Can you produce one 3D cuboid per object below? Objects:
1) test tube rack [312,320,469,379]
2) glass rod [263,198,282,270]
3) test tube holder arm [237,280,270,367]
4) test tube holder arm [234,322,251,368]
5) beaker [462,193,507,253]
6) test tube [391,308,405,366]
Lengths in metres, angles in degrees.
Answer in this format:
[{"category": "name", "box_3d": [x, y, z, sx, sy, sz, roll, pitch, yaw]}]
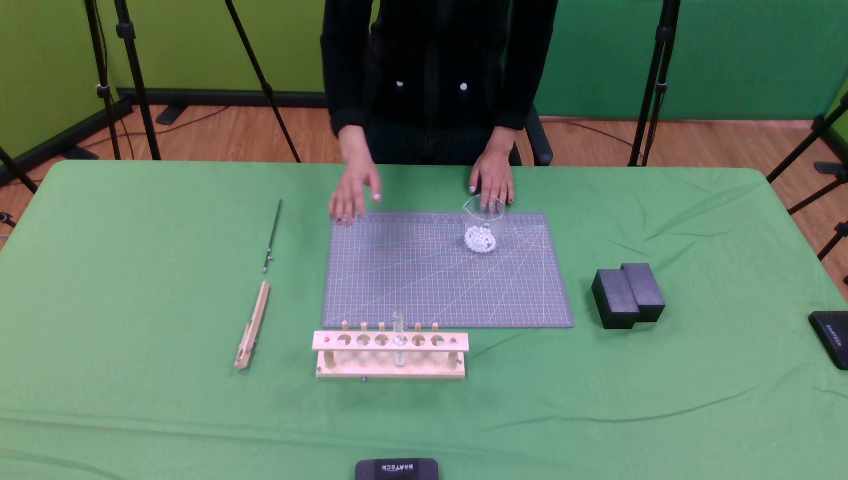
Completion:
[{"category": "test tube rack", "box_3d": [-0.054, 0.173, 0.984, 0.242, 0.085, 0.066, 1, 46, -3]}, {"category": "glass rod", "box_3d": [-0.299, -0.017, 1.202, 0.008, 0.008, 0.198, 1, 46, -2]}, {"category": "test tube holder arm", "box_3d": [-0.291, 0.140, 1.042, 0.013, 0.015, 0.177, -17, 41, 22]}, {"category": "test tube holder arm", "box_3d": [-0.299, 0.173, 1.013, 0.010, 0.015, 0.087, -16, 42, 22]}, {"category": "beaker", "box_3d": [0.113, -0.030, 1.177, 0.084, 0.101, 0.073, 6, 46, 3]}, {"category": "test tube", "box_3d": [-0.040, 0.153, 0.936, 0.017, 0.151, 0.017, 0, 49, 0]}]
